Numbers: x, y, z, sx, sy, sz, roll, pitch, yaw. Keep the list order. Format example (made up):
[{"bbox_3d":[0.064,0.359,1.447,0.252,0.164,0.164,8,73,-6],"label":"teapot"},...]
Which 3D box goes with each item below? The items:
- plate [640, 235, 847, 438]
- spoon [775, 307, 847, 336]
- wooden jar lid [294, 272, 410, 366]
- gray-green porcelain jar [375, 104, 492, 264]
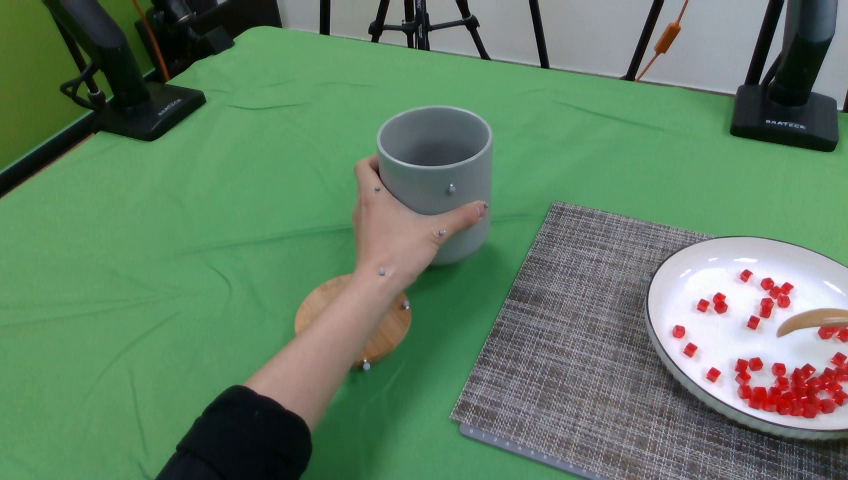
[{"bbox_3d":[0.289,0.078,0.513,0.207,0.039,0.205,-2,43,2],"label":"plate"},{"bbox_3d":[0.331,0.053,0.408,0.042,0.021,0.193,-9,-4,-29],"label":"spoon"},{"bbox_3d":[-0.066,0.074,0.567,0.108,0.021,0.107,-1,44,1],"label":"wooden jar lid"},{"bbox_3d":[0.011,-0.049,0.582,0.106,0.127,0.105,-2,42,2],"label":"gray-green porcelain jar"}]
